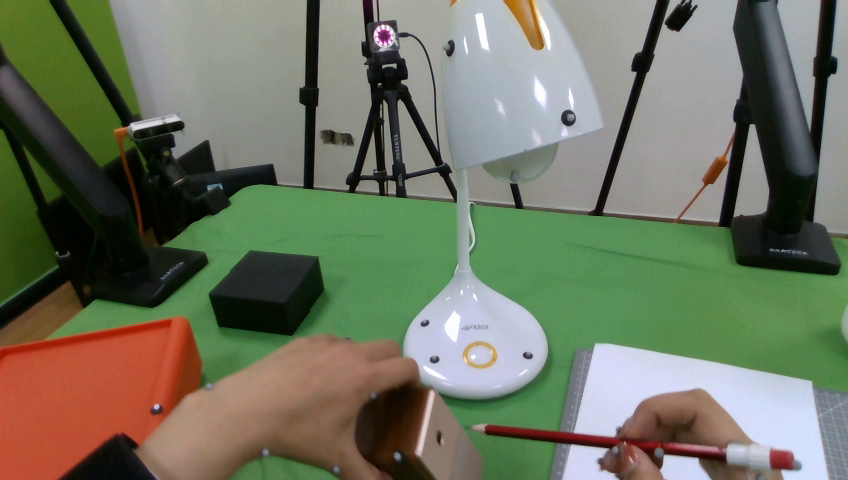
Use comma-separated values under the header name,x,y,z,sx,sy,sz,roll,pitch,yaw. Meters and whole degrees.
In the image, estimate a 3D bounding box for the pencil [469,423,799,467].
name,x,y,z,sx,sy,sz,roll,pitch,yaw
pencil,0.102,0.113,0.345,0.193,0.012,0.012,-10,21,41

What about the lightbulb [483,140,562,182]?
name,x,y,z,sx,sy,sz,roll,pitch,yaw
lightbulb,0.066,-0.095,0.432,0.059,0.108,0.059,-6,7,1

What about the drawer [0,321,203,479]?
name,x,y,z,sx,sy,sz,roll,pitch,yaw
drawer,-0.319,0.174,0.556,0.195,0.074,0.209,-10,31,-8

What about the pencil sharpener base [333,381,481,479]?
name,x,y,z,sx,sy,sz,roll,pitch,yaw
pencil sharpener base,-0.012,0.167,0.472,0.076,0.108,0.061,-13,38,25

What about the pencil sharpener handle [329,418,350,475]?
name,x,y,z,sx,sy,sz,roll,pitch,yaw
pencil sharpener handle,-0.062,0.169,0.486,0.030,0.068,0.035,-13,36,25

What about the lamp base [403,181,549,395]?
name,x,y,z,sx,sy,sz,roll,pitch,yaw
lamp base,0.049,0.041,0.643,0.161,0.181,0.177,-9,29,-9

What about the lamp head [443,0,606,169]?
name,x,y,z,sx,sy,sz,roll,pitch,yaw
lamp head,0.060,-0.120,0.436,0.112,0.123,0.112,-17,2,1

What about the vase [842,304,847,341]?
name,x,y,z,sx,sy,sz,roll,pitch,yaw
vase,0.484,0.030,0.589,0.098,0.201,0.097,-4,30,2

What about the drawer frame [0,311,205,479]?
name,x,y,z,sx,sy,sz,roll,pitch,yaw
drawer frame,-0.321,0.173,0.559,0.202,0.083,0.211,-10,31,-9
